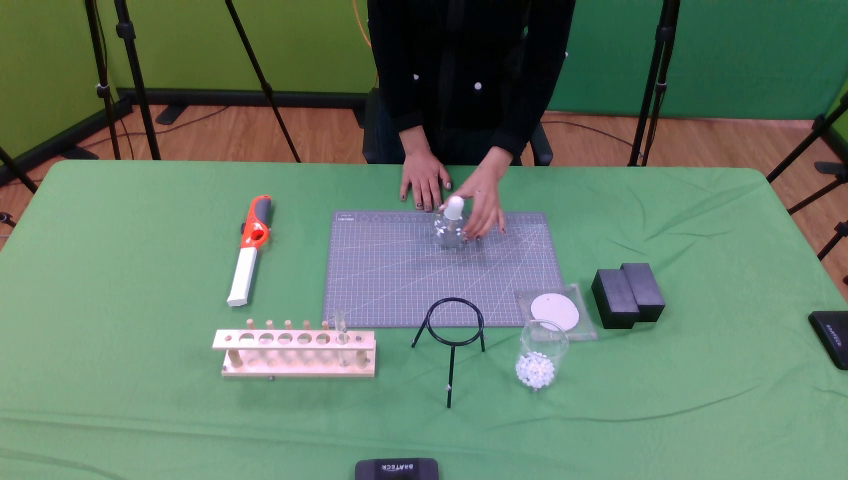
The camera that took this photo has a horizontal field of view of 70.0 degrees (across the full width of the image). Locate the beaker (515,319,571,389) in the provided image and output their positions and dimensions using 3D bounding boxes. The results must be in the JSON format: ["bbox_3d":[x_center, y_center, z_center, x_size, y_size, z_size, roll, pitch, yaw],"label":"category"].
[{"bbox_3d":[0.186,0.186,0.980,0.074,0.101,0.083,-23,51,-24],"label":"beaker"}]

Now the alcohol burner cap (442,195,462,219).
[{"bbox_3d":[0.054,-0.065,1.129,0.034,0.048,0.033,7,52,-9],"label":"alcohol burner cap"}]

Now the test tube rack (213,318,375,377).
[{"bbox_3d":[-0.202,0.169,0.977,0.242,0.085,0.066,1,46,-3],"label":"test tube rack"}]

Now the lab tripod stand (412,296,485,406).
[{"bbox_3d":[0.045,0.168,0.963,0.148,0.132,0.147,3,47,-3],"label":"lab tripod stand"}]

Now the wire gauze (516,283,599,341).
[{"bbox_3d":[0.240,0.131,1.094,0.125,0.011,0.120,-3,47,-8],"label":"wire gauze"}]

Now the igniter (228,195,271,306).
[{"bbox_3d":[-0.332,0.011,1.160,0.057,0.025,0.274,-7,46,5],"label":"igniter"}]

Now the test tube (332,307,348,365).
[{"bbox_3d":[-0.128,0.151,0.931,0.017,0.151,0.017,1,50,-2],"label":"test tube"}]

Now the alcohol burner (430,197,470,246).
[{"bbox_3d":[0.051,-0.042,1.157,0.078,0.119,0.077,2,55,-3],"label":"alcohol burner"}]
